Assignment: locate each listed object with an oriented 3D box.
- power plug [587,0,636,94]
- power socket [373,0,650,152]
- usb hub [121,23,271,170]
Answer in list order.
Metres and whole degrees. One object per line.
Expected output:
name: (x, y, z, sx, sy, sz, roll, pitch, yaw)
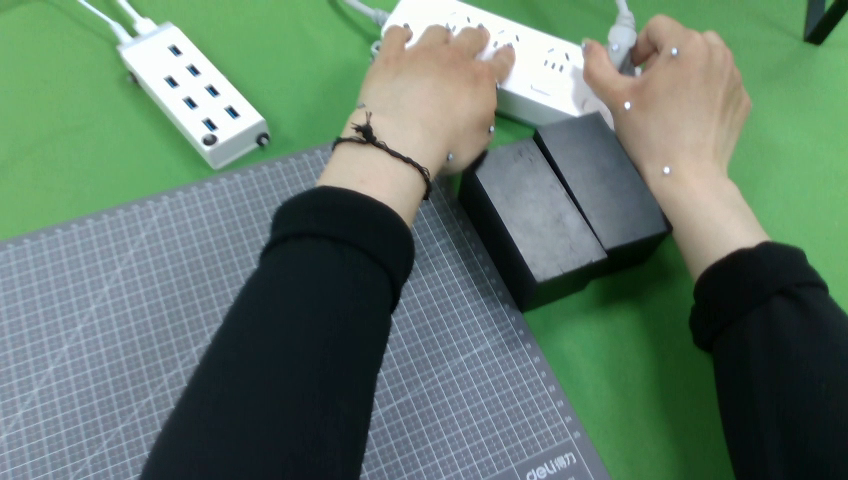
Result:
power plug: (0.152, -0.142, 0.469, 0.035, 0.053, 0.072, 29, 65, 14)
power socket: (0.071, -0.137, 0.484, 0.226, 0.033, 0.072, 23, 62, 8)
usb hub: (-0.172, -0.110, 0.454, 0.049, 0.025, 0.124, -37, 71, -21)
